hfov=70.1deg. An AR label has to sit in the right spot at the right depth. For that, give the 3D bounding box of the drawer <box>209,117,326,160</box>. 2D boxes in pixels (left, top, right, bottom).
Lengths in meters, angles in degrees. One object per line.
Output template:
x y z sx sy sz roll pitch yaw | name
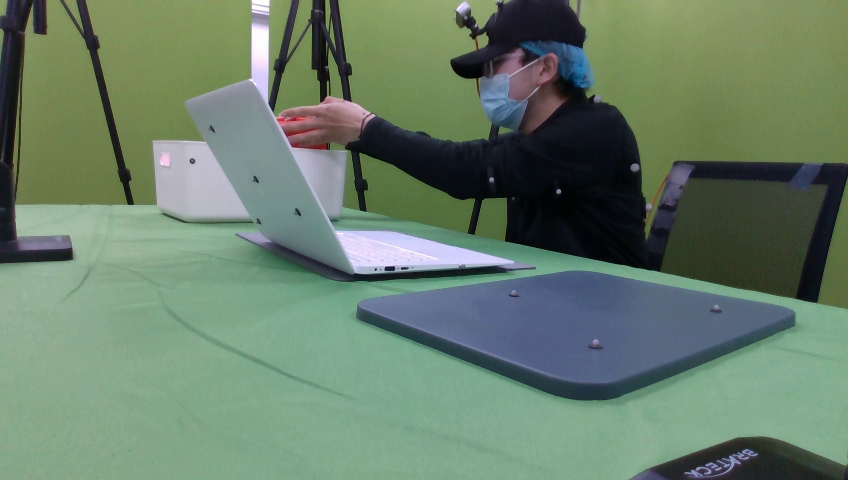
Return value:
-0.348 -0.227 1.344 0.213 0.073 0.193 -11 19 -28 | drawer

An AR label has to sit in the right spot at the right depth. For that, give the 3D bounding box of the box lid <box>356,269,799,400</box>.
0.152 0.068 0.564 0.374 0.015 0.262 -4 10 -41 | box lid

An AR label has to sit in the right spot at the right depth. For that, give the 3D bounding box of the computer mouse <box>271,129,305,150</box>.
-0.308 -0.227 1.369 0.063 0.041 0.116 4 13 -24 | computer mouse

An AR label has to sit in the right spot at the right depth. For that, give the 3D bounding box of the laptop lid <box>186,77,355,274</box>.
-0.211 -0.081 0.772 0.013 0.242 0.355 -35 25 -23 | laptop lid

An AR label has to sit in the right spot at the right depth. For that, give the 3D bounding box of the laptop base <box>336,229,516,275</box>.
-0.065 0.014 0.877 0.237 0.023 0.352 1 7 -32 | laptop base

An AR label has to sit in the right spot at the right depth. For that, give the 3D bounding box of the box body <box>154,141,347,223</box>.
-0.383 -0.132 1.346 0.366 0.160 0.253 -3 9 -36 | box body

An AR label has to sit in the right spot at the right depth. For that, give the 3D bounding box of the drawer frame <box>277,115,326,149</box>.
-0.352 -0.227 1.343 0.214 0.083 0.200 -12 18 -28 | drawer frame
